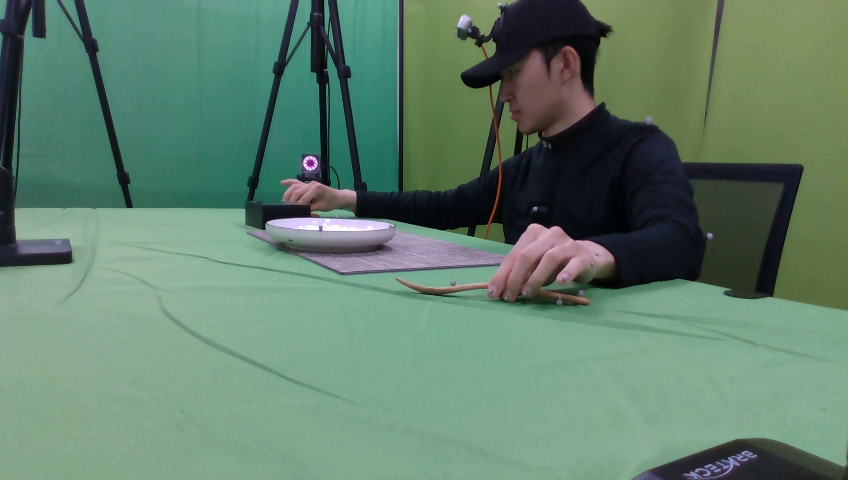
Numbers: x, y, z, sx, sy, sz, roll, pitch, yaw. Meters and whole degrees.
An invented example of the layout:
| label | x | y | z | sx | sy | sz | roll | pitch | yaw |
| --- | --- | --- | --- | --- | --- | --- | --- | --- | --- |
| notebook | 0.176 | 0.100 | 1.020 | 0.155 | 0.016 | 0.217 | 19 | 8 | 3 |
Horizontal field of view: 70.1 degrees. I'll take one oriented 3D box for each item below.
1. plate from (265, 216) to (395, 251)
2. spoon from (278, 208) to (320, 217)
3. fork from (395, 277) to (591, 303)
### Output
| label | x | y | z | sx | sy | sz | roll | pitch | yaw |
| --- | --- | --- | --- | --- | --- | --- | --- | --- | --- |
| plate | -0.150 | -0.011 | 0.978 | 0.209 | 0.038 | 0.209 | 2 | 7 | 0 |
| spoon | -0.303 | -0.065 | 1.440 | 0.042 | 0.021 | 0.192 | 14 | 1 | -37 |
| fork | 0.070 | 0.052 | 0.640 | 0.207 | 0.018 | 0.028 | 2 | -13 | 7 |
